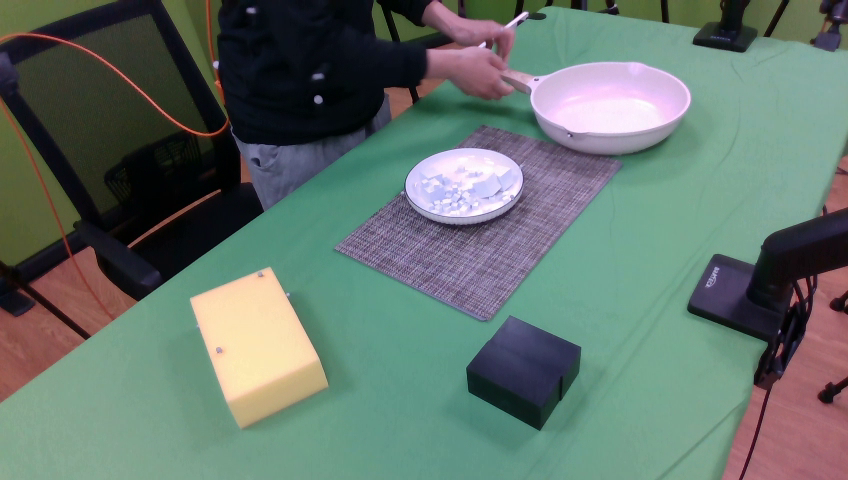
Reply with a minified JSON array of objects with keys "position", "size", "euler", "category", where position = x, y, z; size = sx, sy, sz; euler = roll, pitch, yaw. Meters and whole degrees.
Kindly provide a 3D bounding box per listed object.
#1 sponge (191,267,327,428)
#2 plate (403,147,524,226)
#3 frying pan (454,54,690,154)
[{"position":[-0.226,0.135,0.814],"size":[0.119,0.061,0.205],"euler":[-23,43,-19],"category":"sponge"},{"position":[0.069,-0.089,1.044],"size":[0.207,0.039,0.206],"euler":[-4,41,4],"category":"plate"},{"position":[0.270,-0.298,1.211],"size":[0.485,0.103,0.307],"euler":[27,49,24],"category":"frying pan"}]
